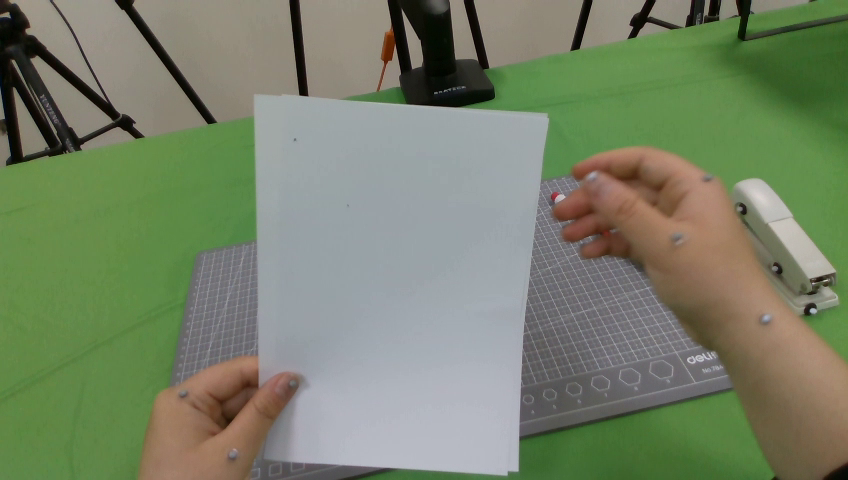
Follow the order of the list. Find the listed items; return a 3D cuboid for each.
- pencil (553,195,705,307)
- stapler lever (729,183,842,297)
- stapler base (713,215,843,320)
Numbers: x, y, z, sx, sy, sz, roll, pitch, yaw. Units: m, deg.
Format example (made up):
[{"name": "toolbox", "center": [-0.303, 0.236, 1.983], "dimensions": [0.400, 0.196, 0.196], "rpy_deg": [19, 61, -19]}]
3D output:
[{"name": "pencil", "center": [0.182, 0.005, 0.559], "dimensions": [0.012, 0.012, 0.192], "rpy_deg": [-24, 42, -17]}, {"name": "stapler lever", "center": [0.298, -0.004, 0.504], "dimensions": [0.027, 0.040, 0.116], "rpy_deg": [-15, 40, -2]}, {"name": "stapler base", "center": [0.300, 0.013, 0.521], "dimensions": [0.041, 0.025, 0.129], "rpy_deg": [-15, 41, -3]}]
